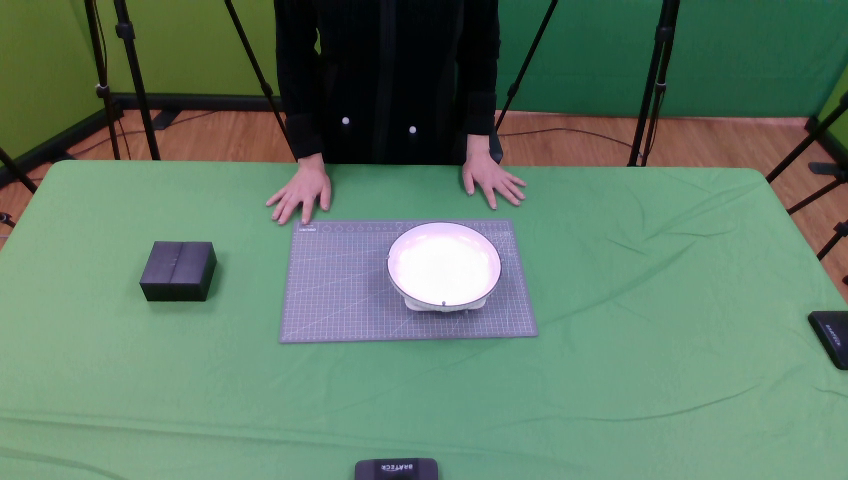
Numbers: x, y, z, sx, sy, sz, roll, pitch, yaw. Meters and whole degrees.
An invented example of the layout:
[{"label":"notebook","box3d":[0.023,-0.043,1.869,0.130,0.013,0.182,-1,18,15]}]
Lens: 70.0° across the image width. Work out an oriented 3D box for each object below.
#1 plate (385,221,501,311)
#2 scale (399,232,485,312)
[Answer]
[{"label":"plate","box3d":[0.034,0.049,1.096,0.209,0.038,0.208,2,46,-2]},{"label":"scale","box3d":[0.031,0.050,1.141,0.149,0.032,0.199,-1,46,-6]}]
